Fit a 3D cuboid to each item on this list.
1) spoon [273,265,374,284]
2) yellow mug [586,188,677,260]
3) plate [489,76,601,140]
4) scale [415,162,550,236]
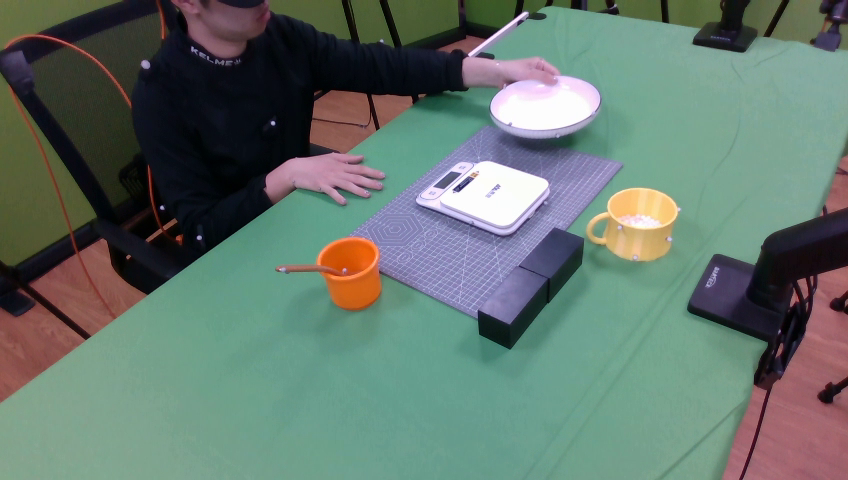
[{"bbox_3d":[-0.136,0.045,0.839,0.041,0.195,0.021,18,91,33],"label":"spoon"},{"bbox_3d":[0.311,-0.022,0.916,0.131,0.064,0.099,-8,40,0],"label":"yellow mug"},{"bbox_3d":[0.228,-0.247,1.149,0.209,0.038,0.208,-7,40,6],"label":"plate"},{"bbox_3d":[0.099,-0.079,1.035,0.199,0.032,0.149,23,48,31],"label":"scale"}]
